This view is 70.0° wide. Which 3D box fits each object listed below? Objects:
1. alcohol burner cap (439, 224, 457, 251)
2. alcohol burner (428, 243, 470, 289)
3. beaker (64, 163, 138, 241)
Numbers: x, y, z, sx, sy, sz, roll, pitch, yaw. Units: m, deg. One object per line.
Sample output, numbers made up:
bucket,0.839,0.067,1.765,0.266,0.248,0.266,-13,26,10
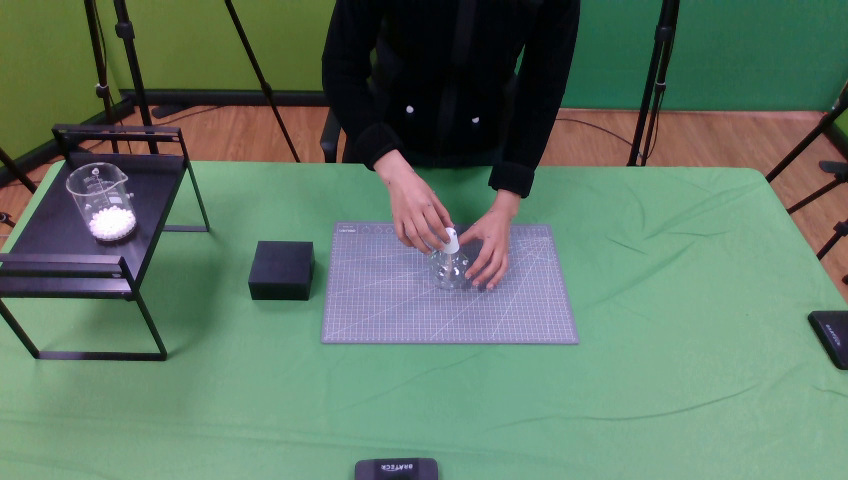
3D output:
alcohol burner cap,0.044,-0.008,1.066,0.034,0.048,0.033,4,46,-4
alcohol burner,0.045,0.032,1.099,0.078,0.120,0.077,0,45,0
beaker,-0.477,-0.055,0.910,0.084,0.101,0.073,-9,48,-13
